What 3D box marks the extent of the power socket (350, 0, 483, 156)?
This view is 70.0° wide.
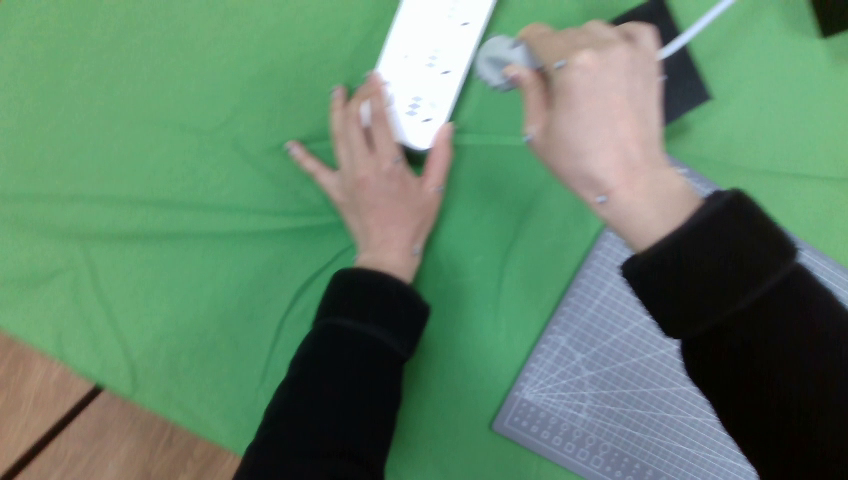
[{"bbox_3d":[0.004,-0.182,0.516,0.072,0.032,0.226,21,91,-9],"label":"power socket"}]

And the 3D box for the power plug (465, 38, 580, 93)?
[{"bbox_3d":[0.061,-0.108,0.413,0.073,0.052,0.035,37,79,-8],"label":"power plug"}]
